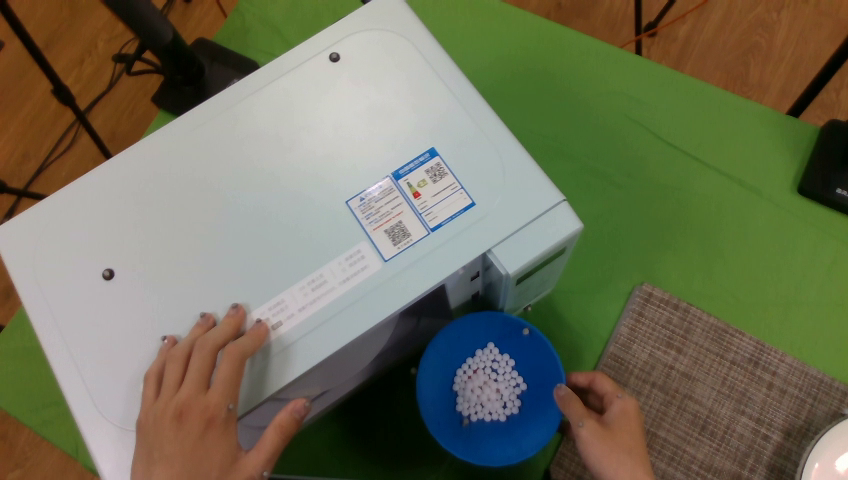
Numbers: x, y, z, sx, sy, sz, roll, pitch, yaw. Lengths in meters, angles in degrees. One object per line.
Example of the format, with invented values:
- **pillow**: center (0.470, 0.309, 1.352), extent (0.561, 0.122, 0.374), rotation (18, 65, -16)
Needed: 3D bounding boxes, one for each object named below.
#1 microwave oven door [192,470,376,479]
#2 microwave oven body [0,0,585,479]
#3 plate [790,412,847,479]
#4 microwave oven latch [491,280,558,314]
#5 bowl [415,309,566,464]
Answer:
- **microwave oven door**: center (-0.049, 0.247, 0.555), extent (0.355, 0.245, 0.039), rotation (2, 72, 5)
- **microwave oven body**: center (-0.120, 0.013, 0.640), extent (0.442, 0.262, 0.324), rotation (-33, 73, -5)
- **plate**: center (0.482, 0.279, 0.623), extent (0.207, 0.039, 0.206), rotation (-1, 73, 4)
- **microwave oven latch**: center (0.117, 0.062, 0.707), extent (0.079, 0.030, 0.030), rotation (-31, 73, -5)
- **bowl**: center (0.065, 0.154, 0.632), extent (0.151, 0.077, 0.150), rotation (0, 72, 0)
